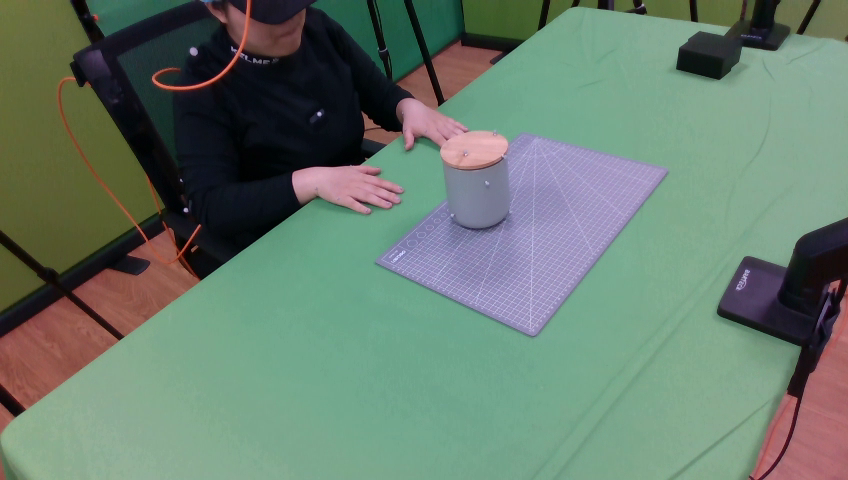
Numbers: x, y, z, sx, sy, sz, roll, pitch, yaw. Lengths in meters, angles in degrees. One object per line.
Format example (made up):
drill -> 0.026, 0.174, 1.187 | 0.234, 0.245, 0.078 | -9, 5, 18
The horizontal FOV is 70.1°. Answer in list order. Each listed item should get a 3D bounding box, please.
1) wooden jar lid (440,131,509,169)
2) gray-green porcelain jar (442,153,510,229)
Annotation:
wooden jar lid -> 0.079, -0.137, 0.948 | 0.108, 0.021, 0.108 | -5, 38, 5
gray-green porcelain jar -> 0.088, -0.091, 0.988 | 0.106, 0.127, 0.105 | -5, 40, 5
